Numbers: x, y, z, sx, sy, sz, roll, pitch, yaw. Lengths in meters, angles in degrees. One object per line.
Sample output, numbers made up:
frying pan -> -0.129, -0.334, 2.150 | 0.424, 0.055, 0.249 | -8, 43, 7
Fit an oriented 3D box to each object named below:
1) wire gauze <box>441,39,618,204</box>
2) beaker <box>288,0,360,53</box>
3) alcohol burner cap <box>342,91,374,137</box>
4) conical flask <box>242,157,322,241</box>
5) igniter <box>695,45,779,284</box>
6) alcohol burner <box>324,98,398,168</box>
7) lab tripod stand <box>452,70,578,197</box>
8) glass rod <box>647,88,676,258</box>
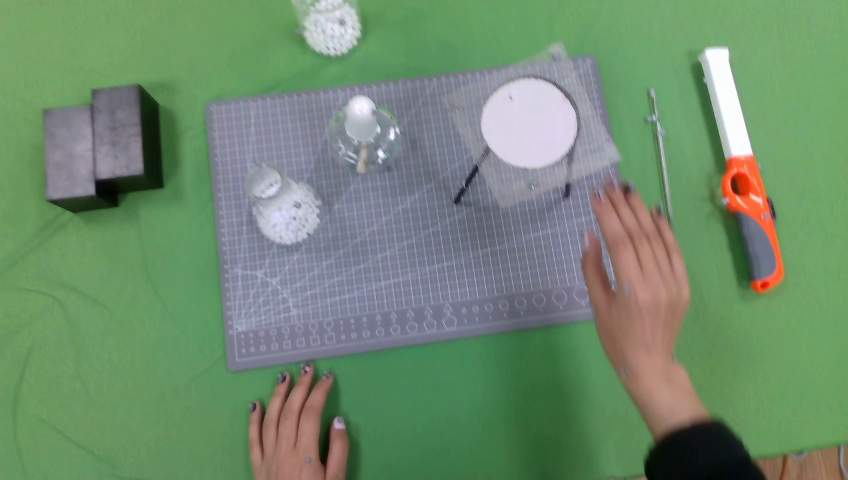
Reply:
wire gauze -> 0.095, -0.108, 0.548 | 0.125, 0.011, 0.121 | -24, 82, -5
beaker -> -0.106, -0.258, 0.658 | 0.074, 0.100, 0.084 | 40, 81, 6
alcohol burner cap -> -0.064, -0.126, 0.589 | 0.034, 0.048, 0.033 | 3, 72, -8
conical flask -> -0.147, -0.045, 0.605 | 0.075, 0.122, 0.075 | 0, 79, -1
igniter -> 0.349, -0.088, 0.676 | 0.057, 0.025, 0.275 | -6, 80, -13
alcohol burner -> -0.065, -0.117, 0.624 | 0.078, 0.119, 0.077 | 1, 78, -3
lab tripod stand -> 0.093, -0.098, 0.615 | 0.148, 0.132, 0.148 | 0, 82, -1
glass rod -> 0.266, -0.077, 0.682 | 0.008, 0.008, 0.199 | -4, 80, -2
